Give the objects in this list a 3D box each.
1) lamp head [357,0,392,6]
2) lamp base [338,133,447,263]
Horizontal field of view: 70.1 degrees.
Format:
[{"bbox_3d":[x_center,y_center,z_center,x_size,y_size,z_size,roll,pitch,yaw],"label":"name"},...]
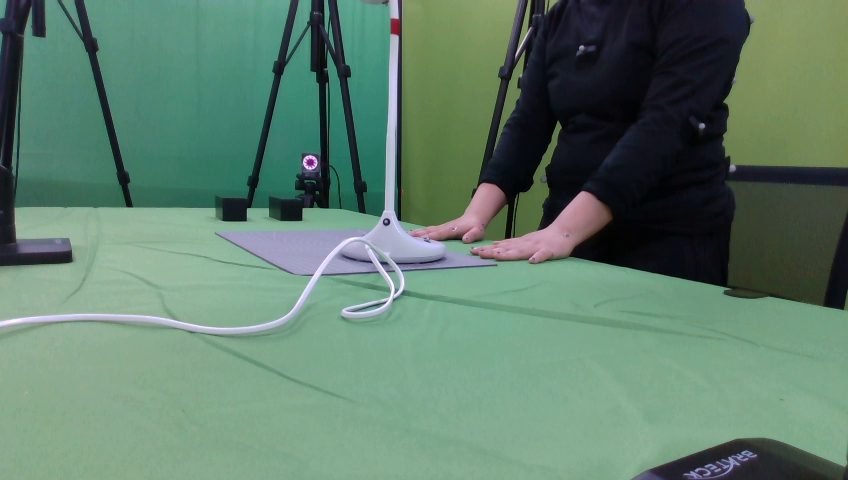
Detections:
[{"bbox_3d":[-0.056,-0.383,0.819,0.113,0.112,0.122,0,13,-22],"label":"lamp head"},{"bbox_3d":[-0.043,-0.062,0.868,0.161,0.180,0.179,2,10,-3],"label":"lamp base"}]
